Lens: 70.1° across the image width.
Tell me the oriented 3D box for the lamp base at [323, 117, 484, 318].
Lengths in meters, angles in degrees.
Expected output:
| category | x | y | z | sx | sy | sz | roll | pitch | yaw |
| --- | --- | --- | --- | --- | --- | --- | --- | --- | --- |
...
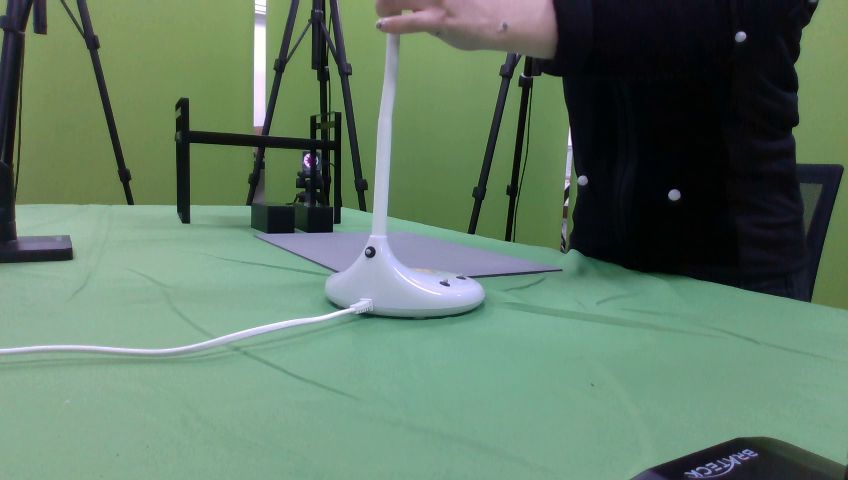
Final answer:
| category | x | y | z | sx | sy | sz | roll | pitch | yaw |
| --- | --- | --- | --- | --- | --- | --- | --- | --- | --- |
| lamp base | -0.020 | -0.025 | 0.582 | 0.160 | 0.180 | 0.179 | 5 | 10 | 16 |
